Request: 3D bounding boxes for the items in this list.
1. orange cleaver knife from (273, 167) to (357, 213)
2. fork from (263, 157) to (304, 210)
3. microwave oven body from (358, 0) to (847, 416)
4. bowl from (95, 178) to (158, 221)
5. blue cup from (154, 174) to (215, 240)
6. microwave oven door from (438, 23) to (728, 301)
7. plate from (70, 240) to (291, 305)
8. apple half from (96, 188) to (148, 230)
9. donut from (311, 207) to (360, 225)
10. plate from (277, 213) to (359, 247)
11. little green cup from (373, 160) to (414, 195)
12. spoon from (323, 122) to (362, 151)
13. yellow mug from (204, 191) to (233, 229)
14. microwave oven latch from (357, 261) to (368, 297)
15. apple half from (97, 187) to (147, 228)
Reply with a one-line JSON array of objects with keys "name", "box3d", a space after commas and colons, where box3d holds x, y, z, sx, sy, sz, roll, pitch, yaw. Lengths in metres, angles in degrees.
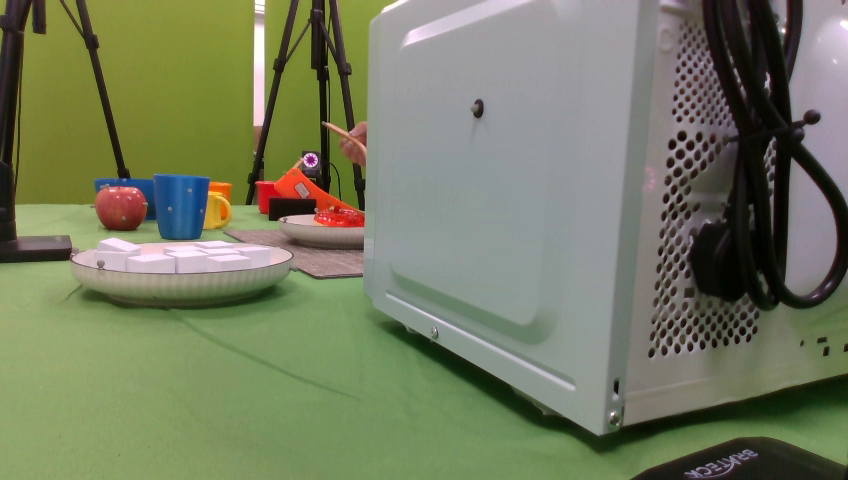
[{"name": "orange cleaver knife", "box3d": [-0.238, -0.091, 1.381, 0.212, 0.077, 0.012, 31, 0, -19]}, {"name": "fork", "box3d": [-0.345, -0.143, 1.505, 0.028, 0.019, 0.207, -4, 46, 28]}, {"name": "microwave oven body", "box3d": [0.211, -0.047, 0.474, 0.444, 0.260, 0.324, -1, 7, -28]}, {"name": "bowl", "box3d": [-0.576, -0.081, 1.217, 0.151, 0.077, 0.151, 3, 8, 0]}, {"name": "blue cup", "box3d": [-0.391, -0.053, 0.978, 0.093, 0.100, 0.092, 4, 6, 0]}, {"name": "microwave oven door", "box3d": [0.181, -0.072, 0.620, 0.358, 0.243, 0.039, -2, 8, -29]}, {"name": "plate", "box3d": [-0.242, 0.031, 0.618, 0.208, 0.039, 0.207, 2, 8, 0]}, {"name": "apple half", "box3d": [-0.517, -0.052, 1.036, 0.081, 0.074, 0.053, 3, 10, -26]}, {"name": "donut", "box3d": [-0.137, -0.029, 0.995, 0.099, 0.048, 0.099, 4, 8, 0]}, {"name": "plate", "box3d": [-0.134, -0.017, 0.992, 0.209, 0.038, 0.209, 2, 7, 0]}, {"name": "little green cup", "box3d": [-0.047, -0.099, 0.972, 0.061, 0.038, 0.061, -24, 0, 0]}, {"name": "spoon", "box3d": [-0.114, -0.161, 1.021, 0.042, 0.021, 0.193, -4, 37, -45]}, {"name": "yellow mug", "box3d": [-0.415, -0.057, 1.131, 0.130, 0.064, 0.100, 6, 8, 16]}, {"name": "microwave oven latch", "box3d": [-0.019, 0.033, 0.530, 0.079, 0.029, 0.030, -1, 7, -27]}, {"name": "apple half", "box3d": [-0.534, -0.059, 1.071, 0.082, 0.081, 0.032, -1, 11, -25]}]
